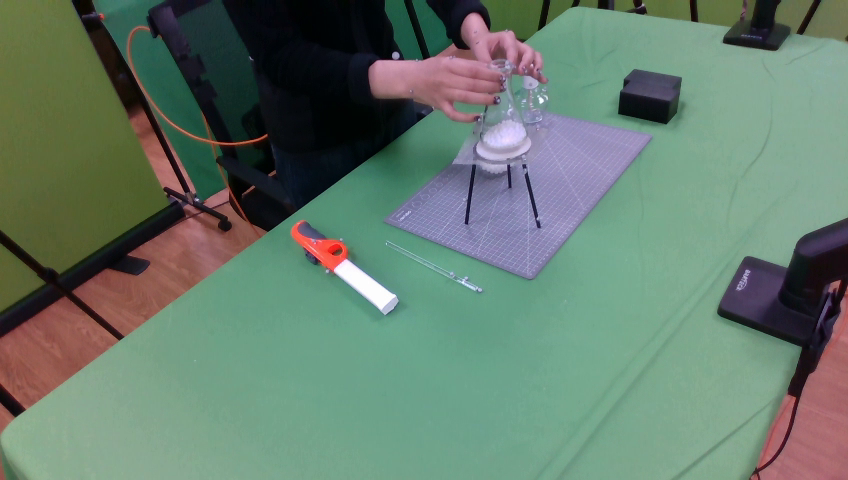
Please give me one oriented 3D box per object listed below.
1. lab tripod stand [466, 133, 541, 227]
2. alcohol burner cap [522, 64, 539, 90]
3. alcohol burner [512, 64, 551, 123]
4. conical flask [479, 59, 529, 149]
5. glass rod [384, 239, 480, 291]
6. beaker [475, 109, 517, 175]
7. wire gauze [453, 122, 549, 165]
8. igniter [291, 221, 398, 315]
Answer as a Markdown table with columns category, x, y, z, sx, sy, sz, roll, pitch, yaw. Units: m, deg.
| category | x | y | z | sx | sy | sz | roll | pitch | yaw |
| --- | --- | --- | --- | --- | --- | --- | --- | --- | --- |
| lab tripod stand | 0.129 | -0.099 | 0.985 | 0.148 | 0.132 | 0.147 | -6 | 38 | 6 |
| alcohol burner cap | 0.210 | -0.325 | 1.195 | 0.034 | 0.048 | 0.033 | -6 | 46 | 7 |
| alcohol burner | 0.215 | -0.298 | 1.220 | 0.078 | 0.120 | 0.077 | -7 | 41 | 7 |
| conical flask | 0.115 | -0.203 | 0.895 | 0.075 | 0.122 | 0.075 | -6 | 37 | 5 |
| glass rod | 0.009 | 0.037 | 0.949 | 0.198 | 0.008 | 0.008 | 26 | 52 | 34 |
| beaker | 0.131 | -0.174 | 1.101 | 0.073 | 0.101 | 0.084 | 17 | 47 | 29 |
| wire gauze | 0.122 | -0.150 | 0.942 | 0.121 | 0.011 | 0.125 | 8 | 42 | 22 |
| igniter | -0.136 | 0.037 | 0.963 | 0.057 | 0.025 | 0.274 | -41 | 48 | -18 |
